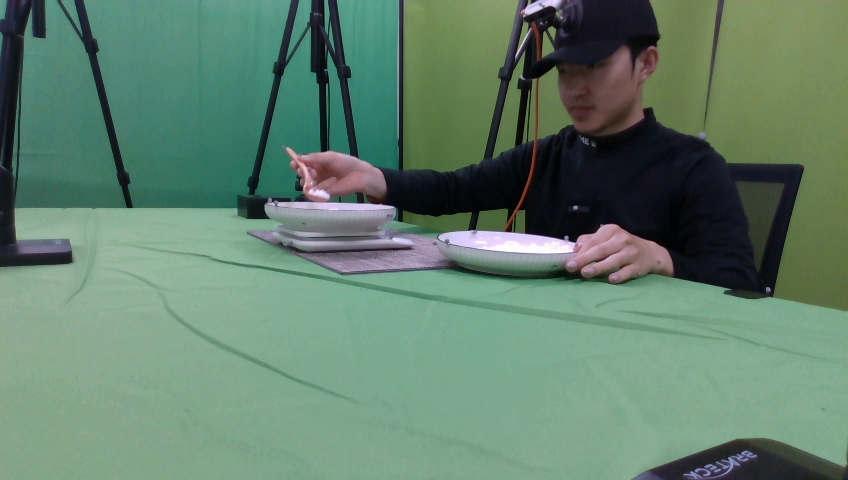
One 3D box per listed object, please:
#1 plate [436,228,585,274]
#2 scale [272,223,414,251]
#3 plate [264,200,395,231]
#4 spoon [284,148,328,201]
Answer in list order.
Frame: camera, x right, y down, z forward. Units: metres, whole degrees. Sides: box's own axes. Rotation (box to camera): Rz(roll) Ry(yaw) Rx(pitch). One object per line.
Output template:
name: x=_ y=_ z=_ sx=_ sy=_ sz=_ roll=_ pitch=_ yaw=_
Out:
plate: x=0.121 y=0.016 z=0.856 sx=0.209 sy=0.038 sz=0.209 roll=3 pitch=8 yaw=0
scale: x=-0.131 y=-0.008 z=0.984 sx=0.202 sy=0.031 sz=0.148 roll=-2 pitch=8 yaw=-32
plate: x=-0.150 y=-0.040 z=0.972 sx=0.208 sy=0.039 sz=0.207 roll=2 pitch=7 yaw=0
spoon: x=-0.206 y=-0.115 z=1.031 sx=0.042 sy=0.021 sz=0.193 roll=11 pitch=30 yaw=-36
